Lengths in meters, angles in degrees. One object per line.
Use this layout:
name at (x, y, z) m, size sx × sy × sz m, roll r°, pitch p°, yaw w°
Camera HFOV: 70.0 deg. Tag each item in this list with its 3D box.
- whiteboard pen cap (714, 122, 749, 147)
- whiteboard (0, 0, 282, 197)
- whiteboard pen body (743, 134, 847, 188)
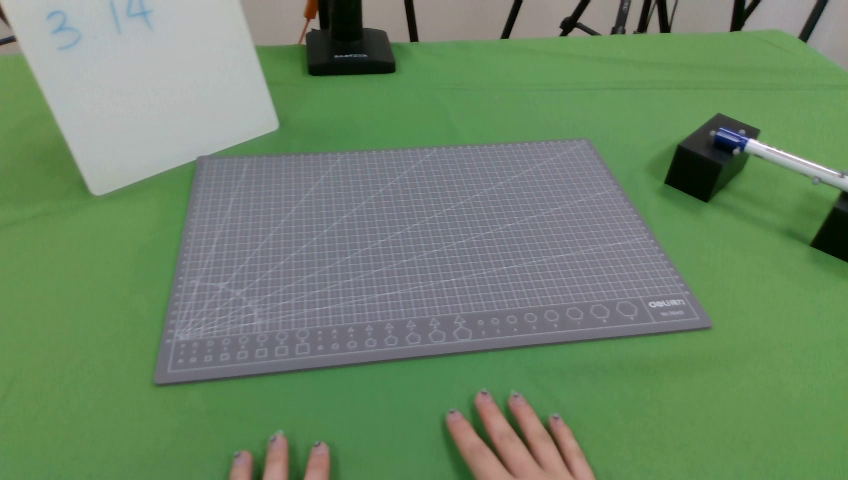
whiteboard pen cap at (0.322, -0.109, 0.633) m, size 0.033 × 0.018 × 0.018 m, roll 32°, pitch 49°, yaw 24°
whiteboard at (-0.318, -0.238, 0.638) m, size 0.217 × 0.308 × 0.142 m, roll -30°, pitch 32°, yaw -31°
whiteboard pen body at (0.367, -0.083, 0.607) m, size 0.139 × 0.017 × 0.017 m, roll 31°, pitch 49°, yaw 27°
